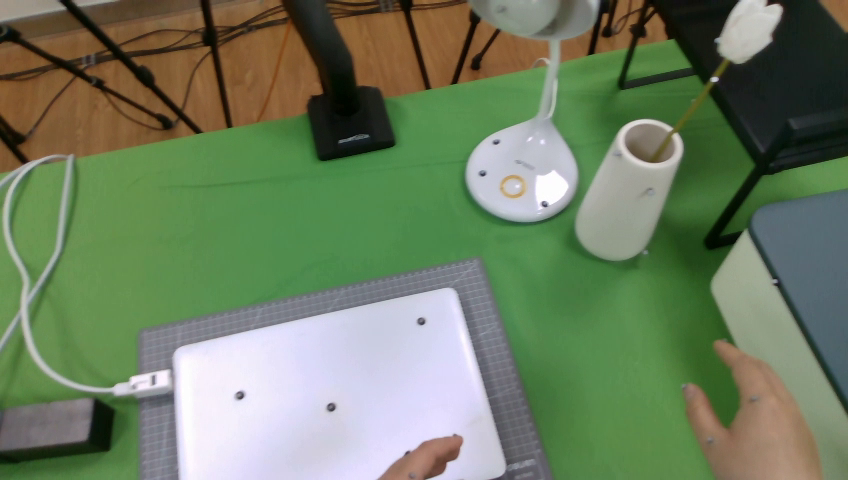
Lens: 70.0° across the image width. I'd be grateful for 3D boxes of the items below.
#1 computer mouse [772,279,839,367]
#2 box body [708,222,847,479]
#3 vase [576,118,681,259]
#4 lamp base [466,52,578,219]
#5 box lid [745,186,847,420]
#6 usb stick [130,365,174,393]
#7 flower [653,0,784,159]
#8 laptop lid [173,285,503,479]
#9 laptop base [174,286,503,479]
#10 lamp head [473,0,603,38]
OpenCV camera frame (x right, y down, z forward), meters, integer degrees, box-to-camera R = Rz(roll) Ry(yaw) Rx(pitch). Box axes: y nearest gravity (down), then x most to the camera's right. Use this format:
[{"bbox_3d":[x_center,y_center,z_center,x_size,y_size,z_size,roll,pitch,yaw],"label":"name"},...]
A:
[{"bbox_3d":[0.465,0.096,0.737,0.062,0.041,0.116,18,56,15],"label":"computer mouse"},{"bbox_3d":[0.506,0.134,0.649,0.254,0.162,0.360,-11,61,-4],"label":"box body"},{"bbox_3d":[0.247,-0.059,0.742,0.098,0.202,0.097,-1,59,3],"label":"vase"},{"bbox_3d":[0.143,-0.147,0.805,0.160,0.182,0.178,18,60,11],"label":"lamp base"},{"bbox_3d":[0.504,0.095,0.585,0.263,0.015,0.368,-10,60,-5],"label":"box lid"},{"bbox_3d":[-0.312,0.163,0.714,0.059,0.027,0.021,-8,60,-9],"label":"usb stick"},{"bbox_3d":[0.265,-0.104,0.672,0.038,0.364,0.043,4,50,-15],"label":"flower"},{"bbox_3d":[-0.107,0.190,0.697,0.357,0.013,0.239,-10,63,-5],"label":"laptop lid"},{"bbox_3d":[-0.108,0.194,0.708,0.355,0.023,0.233,-12,64,-6],"label":"laptop base"},{"bbox_3d":[0.108,-0.251,0.520,0.112,0.113,0.122,15,79,10],"label":"lamp head"}]
